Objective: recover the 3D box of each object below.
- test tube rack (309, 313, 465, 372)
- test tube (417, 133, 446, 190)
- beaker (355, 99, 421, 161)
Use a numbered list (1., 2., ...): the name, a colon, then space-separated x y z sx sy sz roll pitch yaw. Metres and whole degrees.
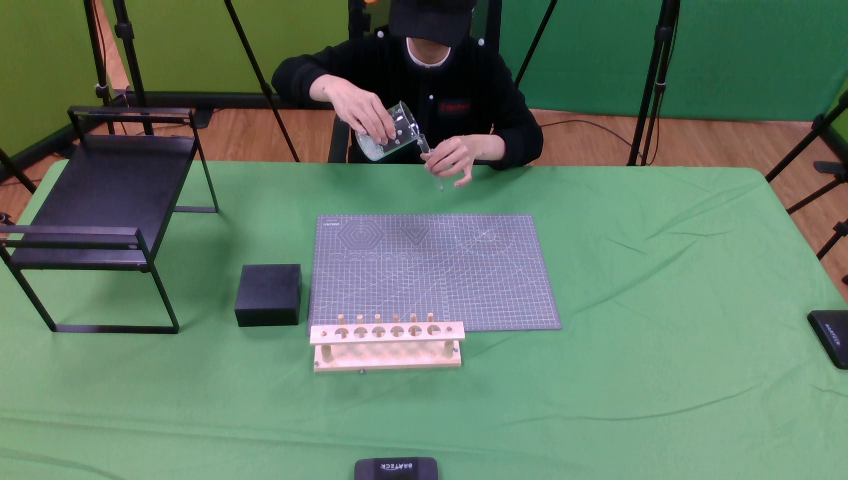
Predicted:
1. test tube rack: -0.059 0.161 0.990 0.242 0.085 0.066 -1 46 -5
2. test tube: 0.016 -0.146 1.155 0.017 0.151 0.017 -10 52 14
3. beaker: -0.064 -0.191 1.081 0.100 0.084 0.073 -26 45 14
